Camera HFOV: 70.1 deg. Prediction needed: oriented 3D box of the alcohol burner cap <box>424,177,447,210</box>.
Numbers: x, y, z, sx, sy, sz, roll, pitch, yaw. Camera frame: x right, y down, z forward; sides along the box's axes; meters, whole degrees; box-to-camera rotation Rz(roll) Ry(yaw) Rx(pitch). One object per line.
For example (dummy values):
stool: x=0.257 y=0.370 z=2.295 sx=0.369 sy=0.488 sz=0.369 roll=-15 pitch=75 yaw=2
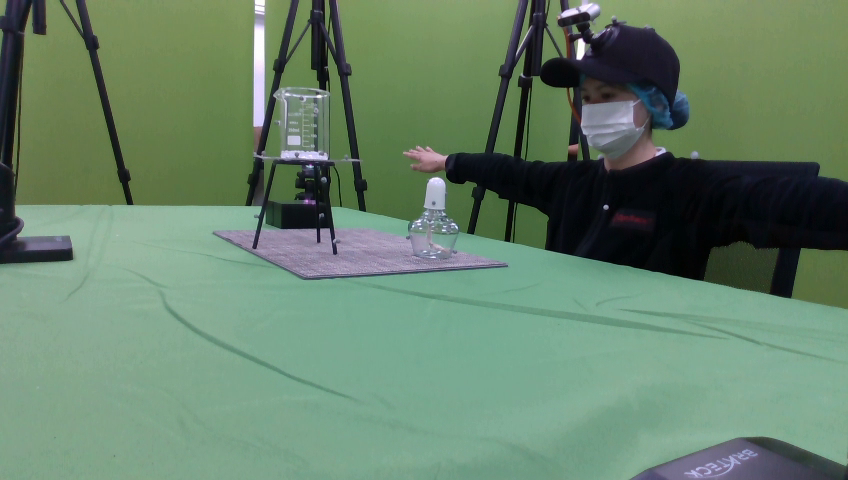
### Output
alcohol burner cap: x=0.018 y=-0.067 z=0.876 sx=0.034 sy=0.048 sz=0.034 roll=4 pitch=13 yaw=0

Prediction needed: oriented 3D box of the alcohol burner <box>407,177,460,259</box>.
alcohol burner: x=0.015 y=-0.032 z=0.882 sx=0.078 sy=0.119 sz=0.078 roll=3 pitch=5 yaw=0

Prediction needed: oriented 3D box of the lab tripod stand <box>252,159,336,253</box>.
lab tripod stand: x=-0.180 y=-0.053 z=0.900 sx=0.148 sy=0.131 sz=0.148 roll=1 pitch=6 yaw=0

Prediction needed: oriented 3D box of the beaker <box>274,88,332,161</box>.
beaker: x=-0.177 y=-0.165 z=0.879 sx=0.084 sy=0.100 sz=0.074 roll=2 pitch=5 yaw=1

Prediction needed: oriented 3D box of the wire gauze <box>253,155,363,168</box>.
wire gauze: x=-0.172 y=-0.117 z=0.891 sx=0.122 sy=0.011 sz=0.124 roll=0 pitch=3 yaw=-38
